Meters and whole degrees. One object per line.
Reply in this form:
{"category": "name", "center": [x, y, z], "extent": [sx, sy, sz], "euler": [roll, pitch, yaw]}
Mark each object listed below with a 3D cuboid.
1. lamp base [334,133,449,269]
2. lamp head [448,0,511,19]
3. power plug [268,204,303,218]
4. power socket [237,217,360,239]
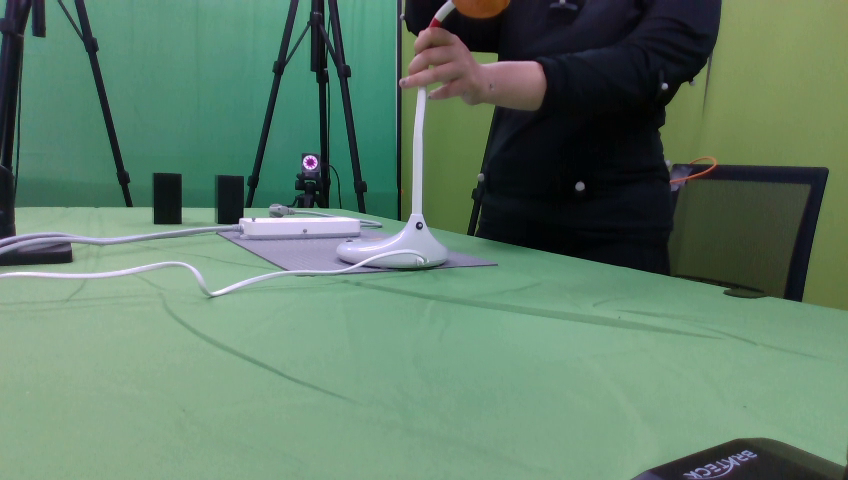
{"category": "lamp base", "center": [-0.034, -0.057, 0.831], "extent": [0.161, 0.180, 0.178], "euler": [-2, 11, -36]}
{"category": "lamp head", "center": [0.064, -0.323, 0.707], "extent": [0.112, 0.122, 0.112], "euler": [6, -3, 1]}
{"category": "power plug", "center": [-0.327, -0.060, 1.404], "extent": [0.073, 0.035, 0.052], "euler": [22, -14, -25]}
{"category": "power socket", "center": [-0.220, -0.023, 1.080], "extent": [0.228, 0.032, 0.072], "euler": [-2, 8, -33]}
